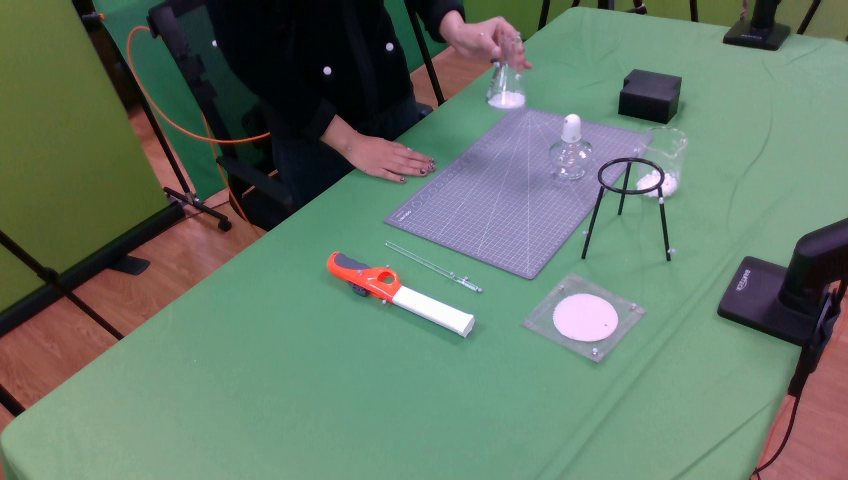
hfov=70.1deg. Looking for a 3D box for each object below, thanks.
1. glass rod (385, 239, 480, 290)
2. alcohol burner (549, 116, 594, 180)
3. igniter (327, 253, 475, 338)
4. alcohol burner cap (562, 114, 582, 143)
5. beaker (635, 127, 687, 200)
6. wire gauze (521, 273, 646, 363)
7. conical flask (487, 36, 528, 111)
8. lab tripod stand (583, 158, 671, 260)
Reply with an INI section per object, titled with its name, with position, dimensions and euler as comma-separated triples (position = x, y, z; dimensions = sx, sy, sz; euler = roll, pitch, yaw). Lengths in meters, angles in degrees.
[glass rod]
position = 0.009, 0.037, 0.950
dimensions = 0.198, 0.008, 0.008
euler = 26, 52, 35
[alcohol burner]
position = 0.258, -0.166, 1.055
dimensions = 0.078, 0.120, 0.077
euler = -6, 42, 6
[igniter]
position = -0.045, 0.077, 0.898
dimensions = 0.274, 0.025, 0.057
euler = 22, 60, 32
[alcohol burner cap]
position = 0.254, -0.192, 1.030
dimensions = 0.034, 0.048, 0.033
euler = -4, 50, 6
[beaker]
position = 0.388, -0.122, 0.994
dimensions = 0.074, 0.101, 0.083
euler = -8, 40, 2
[wire gauze]
position = 0.219, 0.105, 0.830
dimensions = 0.120, 0.011, 0.125
euler = 28, 54, 37
[conical flask]
position = 0.150, -0.295, 1.069
dimensions = 0.075, 0.122, 0.075
euler = -1, 28, 1
[lab tripod stand]
position = 0.300, -0.046, 0.895
dimensions = 0.148, 0.132, 0.147
euler = -7, 38, 6
